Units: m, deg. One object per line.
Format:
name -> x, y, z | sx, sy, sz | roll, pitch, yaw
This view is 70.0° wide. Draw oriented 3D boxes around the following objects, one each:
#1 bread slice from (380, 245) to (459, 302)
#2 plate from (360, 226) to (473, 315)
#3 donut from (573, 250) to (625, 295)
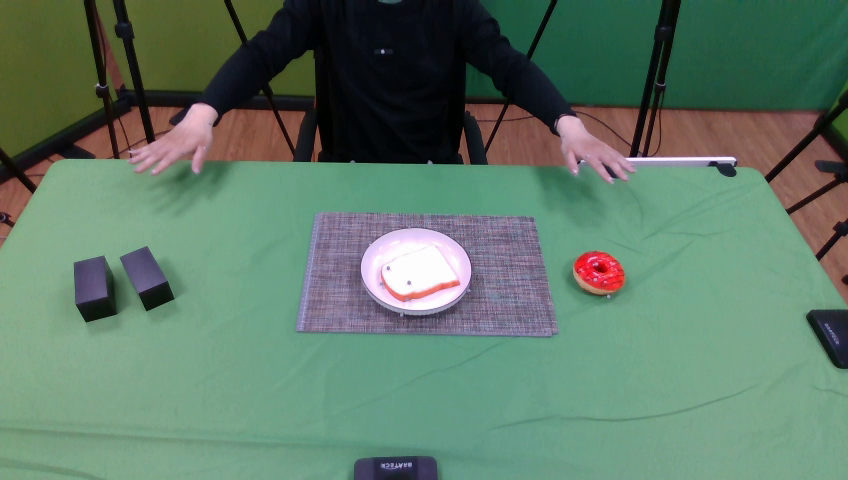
bread slice -> -0.014, 0.064, 1.122 | 0.132, 0.019, 0.104 | -18, 49, -21
plate -> -0.013, 0.059, 1.124 | 0.208, 0.039, 0.206 | 2, 46, -2
donut -> 0.332, 0.062, 1.149 | 0.099, 0.048, 0.098 | 4, 45, -4
